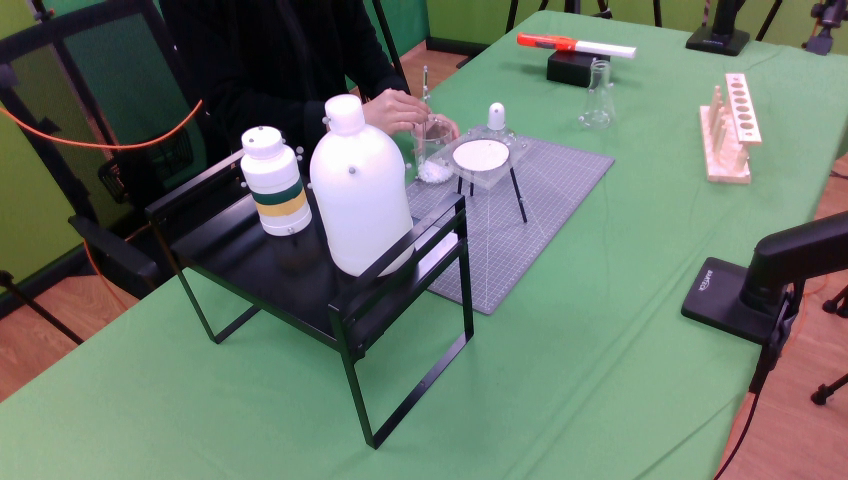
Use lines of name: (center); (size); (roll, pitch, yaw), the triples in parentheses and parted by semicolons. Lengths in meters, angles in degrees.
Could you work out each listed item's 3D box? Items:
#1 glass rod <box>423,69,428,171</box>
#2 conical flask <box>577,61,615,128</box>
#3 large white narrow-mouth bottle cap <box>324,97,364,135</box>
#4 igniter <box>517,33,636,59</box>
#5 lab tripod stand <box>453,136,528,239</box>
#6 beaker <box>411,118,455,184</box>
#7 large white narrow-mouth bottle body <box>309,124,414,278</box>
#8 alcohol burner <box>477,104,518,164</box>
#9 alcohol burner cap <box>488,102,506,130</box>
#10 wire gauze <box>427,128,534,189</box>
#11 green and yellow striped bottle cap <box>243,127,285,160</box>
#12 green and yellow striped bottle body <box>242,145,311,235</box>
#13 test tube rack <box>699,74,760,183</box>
glass rod: (0.003, -0.202, 1.049); (0.008, 0.200, 0.008); (1, 41, 0)
conical flask: (0.343, -0.288, 1.188); (0.075, 0.122, 0.075); (-4, 41, 4)
large white narrow-mouth bottle cap: (-0.077, -0.121, 0.584); (0.038, 0.024, 0.037); (-3, 42, 4)
igniter: (0.336, -0.441, 1.369); (0.275, 0.025, 0.057); (16, 41, 23)
lab tripod stand: (0.095, -0.086, 0.974); (0.148, 0.132, 0.147); (-4, 43, 4)
beaker: (0.020, -0.161, 1.099); (0.073, 0.100, 0.084); (14, 44, 22)
large white narrow-mouth bottle body: (-0.068, -0.057, 0.644); (0.102, 0.195, 0.101); (-4, 42, 4)
alcohol burner: (0.135, -0.200, 1.117); (0.078, 0.119, 0.077); (-4, 43, 4)
alcohol burner cap: (0.133, -0.227, 1.092); (0.034, 0.048, 0.033); (-1, 47, 2)
wire gauze: (0.086, -0.131, 0.924); (0.124, 0.011, 0.122); (26, 52, 33)
green and yellow striped bottle cap: (-0.183, -0.111, 0.694); (0.045, 0.020, 0.045); (-1, 42, 1)
green and yellow striped bottle body: (-0.179, -0.069, 0.730); (0.063, 0.120, 0.063); (-4, 41, 4)
test tube rack: (0.547, -0.208, 1.095); (0.066, 0.085, 0.242); (6, 42, 16)
